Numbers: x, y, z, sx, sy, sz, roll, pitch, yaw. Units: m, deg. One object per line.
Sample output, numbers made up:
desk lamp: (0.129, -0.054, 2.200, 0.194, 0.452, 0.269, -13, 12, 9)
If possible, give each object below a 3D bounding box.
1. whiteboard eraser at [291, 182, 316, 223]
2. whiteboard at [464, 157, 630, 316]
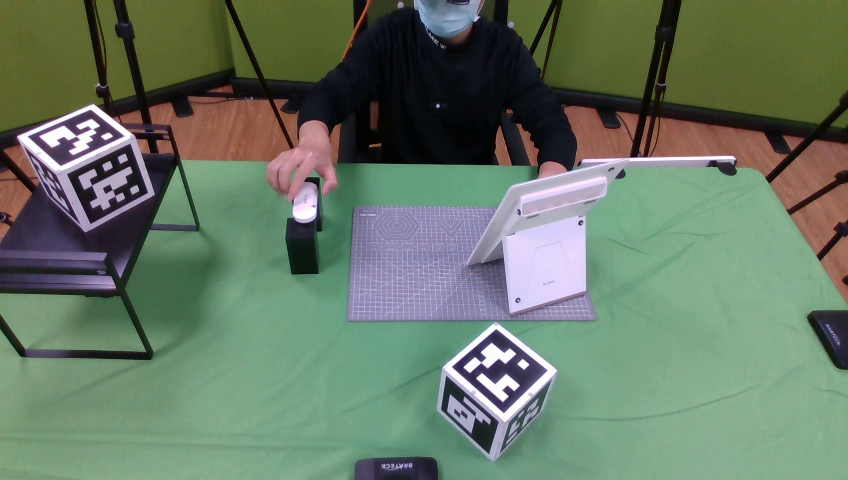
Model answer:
whiteboard eraser: (-0.220, -0.070, 1.110, 0.041, 0.019, 0.100, -1, 44, -5)
whiteboard: (0.224, 0.015, 1.041, 0.217, 0.306, 0.143, -14, 68, -17)
